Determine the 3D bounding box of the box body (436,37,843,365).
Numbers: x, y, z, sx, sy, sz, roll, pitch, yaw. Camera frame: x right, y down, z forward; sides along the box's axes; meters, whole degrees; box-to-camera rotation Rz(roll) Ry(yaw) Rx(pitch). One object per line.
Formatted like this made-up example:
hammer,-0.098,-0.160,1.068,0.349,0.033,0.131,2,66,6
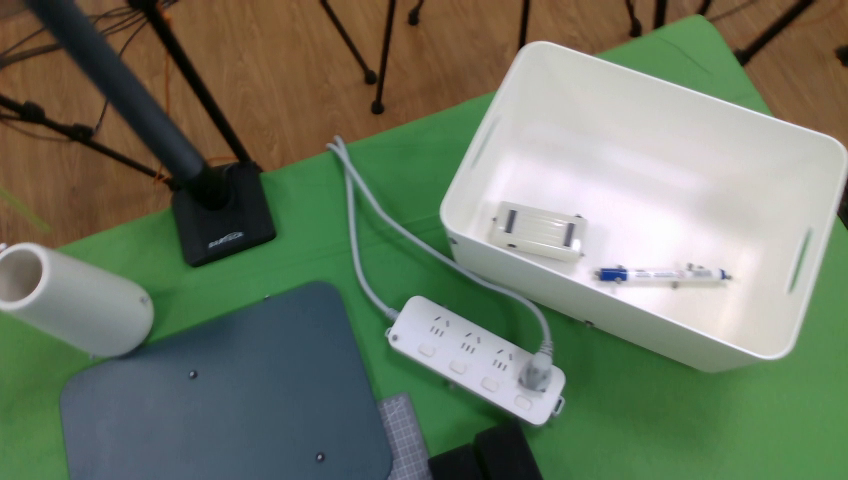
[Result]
box body,0.226,-0.038,0.697,0.363,0.161,0.253,22,74,12

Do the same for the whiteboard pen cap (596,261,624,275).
whiteboard pen cap,0.228,0.034,0.740,0.033,0.018,0.018,0,70,6

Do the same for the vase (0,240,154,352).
vase,-0.395,0.065,0.692,0.098,0.201,0.097,-1,68,4

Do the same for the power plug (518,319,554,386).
power plug,0.136,0.133,0.689,0.035,0.053,0.072,35,73,17

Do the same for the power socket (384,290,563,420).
power socket,0.059,0.134,0.719,0.226,0.033,0.072,26,74,13

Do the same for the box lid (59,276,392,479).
box lid,-0.242,0.216,0.726,0.372,0.015,0.261,-21,70,-3

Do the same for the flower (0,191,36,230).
flower,-0.342,-0.088,0.395,0.044,0.364,0.038,24,65,5

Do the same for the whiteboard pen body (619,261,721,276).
whiteboard pen body,0.286,0.034,0.735,0.140,0.017,0.017,-1,70,5

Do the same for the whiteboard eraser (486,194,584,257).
whiteboard eraser,0.137,-0.018,0.752,0.112,0.042,0.055,13,74,7
